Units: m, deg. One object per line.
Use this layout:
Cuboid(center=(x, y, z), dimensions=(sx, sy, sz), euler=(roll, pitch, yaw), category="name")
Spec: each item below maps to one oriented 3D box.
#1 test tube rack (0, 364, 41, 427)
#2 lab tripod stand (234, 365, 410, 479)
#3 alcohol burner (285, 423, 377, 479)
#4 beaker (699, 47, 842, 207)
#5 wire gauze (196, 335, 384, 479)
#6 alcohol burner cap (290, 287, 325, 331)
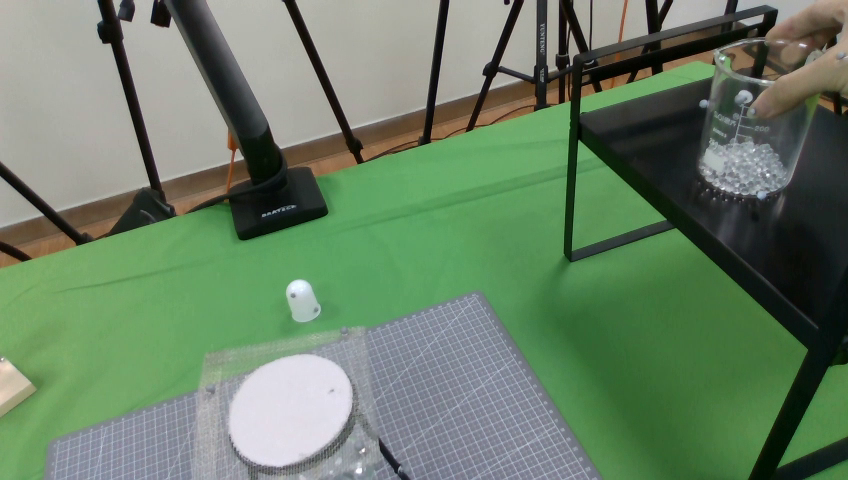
Cuboid(center=(-0.501, 0.188, 0.552), dimensions=(0.066, 0.086, 0.242), euler=(23, 49, 31), category="test tube rack")
Cuboid(center=(-0.080, 0.174, 0.456), dimensions=(0.148, 0.133, 0.147), euler=(-4, 42, 4), category="lab tripod stand")
Cuboid(center=(-0.077, 0.180, 0.464), dimensions=(0.078, 0.120, 0.077), euler=(-6, 38, 5), category="alcohol burner")
Cuboid(center=(0.249, -0.083, 0.454), dimensions=(0.074, 0.101, 0.083), euler=(-28, 44, -23), category="beaker")
Cuboid(center=(-0.093, 0.120, 0.416), dimensions=(0.121, 0.011, 0.123), euler=(-11, 42, -3), category="wire gauze")
Cuboid(center=(-0.129, 0.073, 0.661), dimensions=(0.034, 0.048, 0.033), euler=(-5, 41, 5), category="alcohol burner cap")
